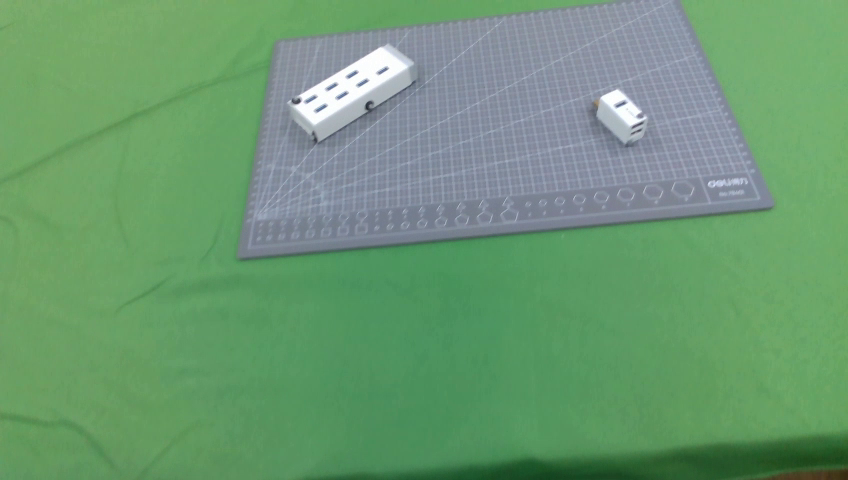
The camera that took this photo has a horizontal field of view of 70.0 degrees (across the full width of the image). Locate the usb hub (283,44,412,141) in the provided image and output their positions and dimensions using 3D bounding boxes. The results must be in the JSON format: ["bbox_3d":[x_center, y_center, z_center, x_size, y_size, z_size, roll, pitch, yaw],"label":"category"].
[{"bbox_3d":[-0.075,-0.150,0.608,0.125,0.025,0.049,-36,58,-18],"label":"usb hub"}]

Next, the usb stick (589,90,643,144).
[{"bbox_3d":[0.172,-0.117,0.554,0.021,0.027,0.058,-26,53,-9],"label":"usb stick"}]
